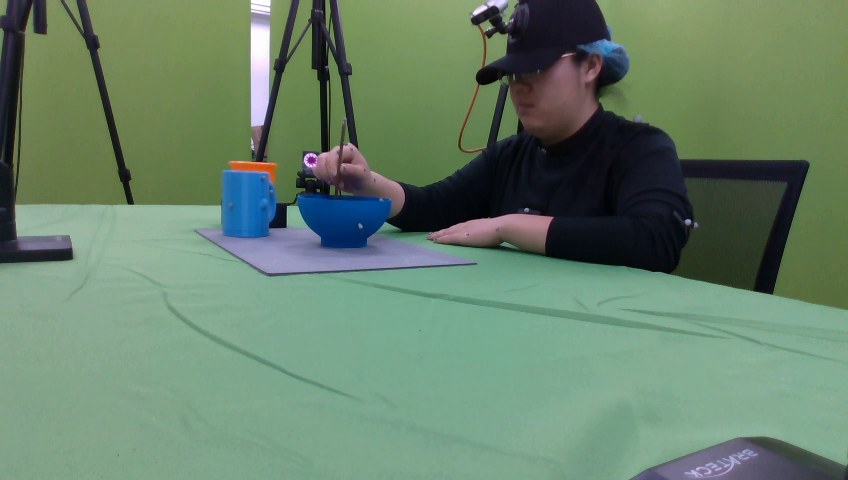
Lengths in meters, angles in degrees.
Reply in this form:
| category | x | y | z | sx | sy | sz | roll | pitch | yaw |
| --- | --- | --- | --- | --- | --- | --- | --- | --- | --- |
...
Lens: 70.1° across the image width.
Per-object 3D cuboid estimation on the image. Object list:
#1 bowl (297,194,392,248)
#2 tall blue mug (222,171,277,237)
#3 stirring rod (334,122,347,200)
| category | x | y | z | sx | sy | sz | roll | pitch | yaw |
| --- | --- | --- | --- | --- | --- | --- | --- | --- | --- |
| bowl | -0.127 | -0.030 | 0.964 | 0.151 | 0.077 | 0.151 | 2 | 7 | 0 |
| tall blue mug | -0.302 | -0.064 | 1.043 | 0.078 | 0.108 | 0.107 | 1 | 7 | -4 |
| stirring rod | -0.135 | -0.098 | 0.953 | 0.006 | 0.176 | 0.014 | 8 | 11 | -5 |
